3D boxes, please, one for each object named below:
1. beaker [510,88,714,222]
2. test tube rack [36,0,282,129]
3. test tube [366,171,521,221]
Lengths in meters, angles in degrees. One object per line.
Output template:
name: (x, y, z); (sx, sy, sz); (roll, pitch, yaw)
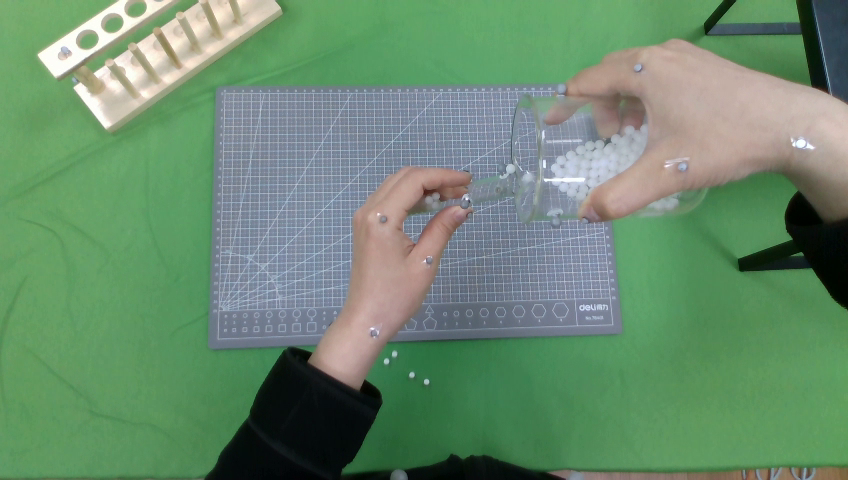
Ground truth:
beaker: (0.105, -0.047, 0.354); (0.100, 0.084, 0.073); (-2, 75, -3)
test tube rack: (-0.281, -0.232, 0.668); (0.242, 0.085, 0.066); (-39, 83, -10)
test tube: (0.007, -0.029, 0.440); (0.017, 0.149, 0.017); (7, 79, -43)
